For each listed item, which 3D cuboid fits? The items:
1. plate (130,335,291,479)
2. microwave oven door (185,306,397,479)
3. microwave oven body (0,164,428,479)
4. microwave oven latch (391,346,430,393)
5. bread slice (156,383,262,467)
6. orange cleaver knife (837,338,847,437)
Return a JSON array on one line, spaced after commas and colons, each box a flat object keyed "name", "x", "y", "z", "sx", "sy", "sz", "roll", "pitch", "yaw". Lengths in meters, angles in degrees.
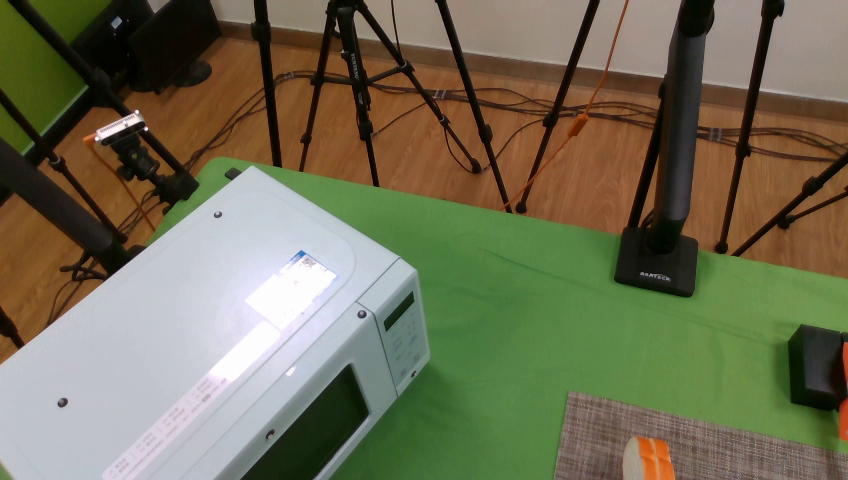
[{"name": "plate", "x": -0.281, "y": 0.227, "z": 0.814, "sx": 0.208, "sy": 0.039, "sz": 0.205, "roll": 0, "pitch": 51, "yaw": 0}, {"name": "microwave oven door", "x": -0.171, "y": 0.261, "z": 0.702, "sx": 0.039, "sy": 0.246, "sz": 0.355, "roll": 30, "pitch": 61, "yaw": 25}, {"name": "microwave oven body", "x": -0.258, "y": 0.171, "z": 0.785, "sx": 0.323, "sy": 0.262, "sz": 0.440, "roll": 31, "pitch": 62, "yaw": 25}, {"name": "microwave oven latch", "x": -0.024, "y": 0.181, "z": 0.877, "sx": 0.030, "sy": 0.030, "sz": 0.079, "roll": 32, "pitch": 63, "yaw": 25}, {"name": "bread slice", "x": -0.282, "y": 0.251, "z": 0.804, "sx": 0.134, "sy": 0.018, "sz": 0.106, "roll": -7, "pitch": 51, "yaw": -12}, {"name": "orange cleaver knife", "x": 0.550, "y": 0.227, "z": 0.781, "sx": 0.012, "sy": 0.078, "sz": 0.210, "roll": 7, "pitch": 75, "yaw": 13}]
